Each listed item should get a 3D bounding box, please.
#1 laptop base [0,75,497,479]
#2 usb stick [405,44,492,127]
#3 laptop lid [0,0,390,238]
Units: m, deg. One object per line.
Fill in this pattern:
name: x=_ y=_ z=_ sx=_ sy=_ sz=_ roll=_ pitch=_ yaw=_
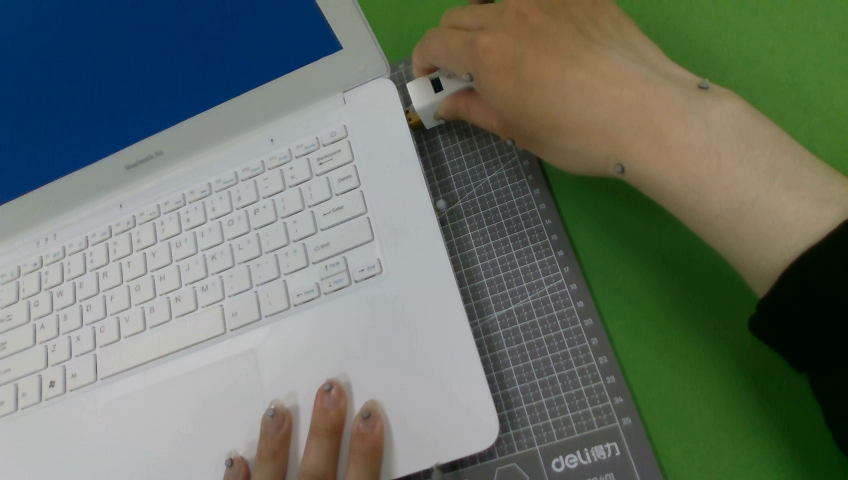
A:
laptop base: x=-0.150 y=0.057 z=0.374 sx=0.354 sy=0.023 sz=0.233 roll=-21 pitch=68 yaw=10
usb stick: x=0.009 y=-0.088 z=0.360 sx=0.059 sy=0.027 sz=0.021 roll=-29 pitch=60 yaw=15
laptop lid: x=-0.222 y=-0.116 z=0.336 sx=0.356 sy=0.244 sz=0.013 roll=-22 pitch=47 yaw=11
